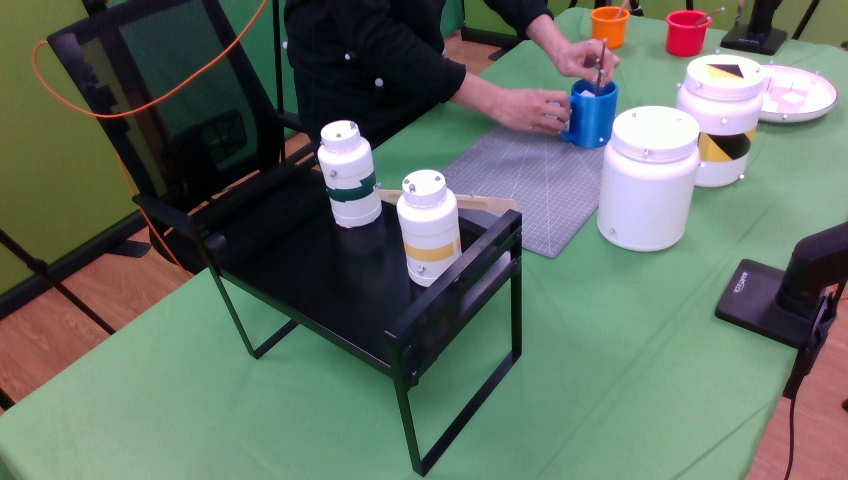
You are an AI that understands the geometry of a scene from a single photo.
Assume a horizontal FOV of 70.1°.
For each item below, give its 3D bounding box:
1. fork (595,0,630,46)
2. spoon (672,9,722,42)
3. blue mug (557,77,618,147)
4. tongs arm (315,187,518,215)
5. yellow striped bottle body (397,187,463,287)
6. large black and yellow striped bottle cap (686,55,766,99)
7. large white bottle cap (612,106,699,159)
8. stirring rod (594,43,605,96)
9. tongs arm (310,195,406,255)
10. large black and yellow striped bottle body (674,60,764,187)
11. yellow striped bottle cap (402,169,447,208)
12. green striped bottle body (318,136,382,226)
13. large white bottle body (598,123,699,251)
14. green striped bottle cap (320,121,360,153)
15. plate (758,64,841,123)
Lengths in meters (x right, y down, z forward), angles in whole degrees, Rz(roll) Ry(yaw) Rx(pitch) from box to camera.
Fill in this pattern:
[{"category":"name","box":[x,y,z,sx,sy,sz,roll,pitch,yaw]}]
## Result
[{"category":"fork","box":[0.480,-0.556,1.453,0.028,0.019,0.207,41,104,41]},{"category":"spoon","box":[0.606,-0.476,1.345,0.042,0.021,0.193,-6,-3,-2]},{"category":"blue mug","box":[0.303,-0.236,1.138,0.117,0.106,0.081,-17,42,-10]},{"category":"tongs arm","box":[-0.028,-0.060,0.988,0.382,0.027,0.051,10,44,36]},{"category":"yellow striped bottle body","box":[0.006,-0.013,0.638,0.063,0.121,0.062,-5,41,4]},{"category":"large black and yellow striped bottle cap","box":[0.474,-0.258,0.952,0.115,0.019,0.114,-5,41,5]},{"category":"large white bottle cap","box":[0.325,-0.153,0.850,0.115,0.018,0.114,-4,42,4]},{"category":"stirring rod","box":[0.309,-0.267,1.087,0.006,0.177,0.014,8,39,12]},{"category":"tongs arm","box":[-0.078,-0.013,0.944,0.028,0.028,0.384,-42,39,-23]},{"category":"large black and yellow striped bottle body","box":[0.482,-0.196,1.008,0.131,0.185,0.130,-4,41,4]},{"category":"yellow striped bottle cap","box":[0.000,-0.052,0.605,0.044,0.019,0.044,-5,43,5]},{"category":"green striped bottle body","box":[-0.090,-0.080,0.733,0.063,0.120,0.063,-5,41,4]},{"category":"large white bottle body","box":[0.334,-0.090,0.906,0.130,0.185,0.130,-5,41,5]},{"category":"green striped bottle cap","box":[-0.097,-0.120,0.699,0.044,0.020,0.044,-4,40,3]},{"category":"plate","box":[0.694,-0.283,1.189,0.207,0.039,0.206,-4,40,4]}]
